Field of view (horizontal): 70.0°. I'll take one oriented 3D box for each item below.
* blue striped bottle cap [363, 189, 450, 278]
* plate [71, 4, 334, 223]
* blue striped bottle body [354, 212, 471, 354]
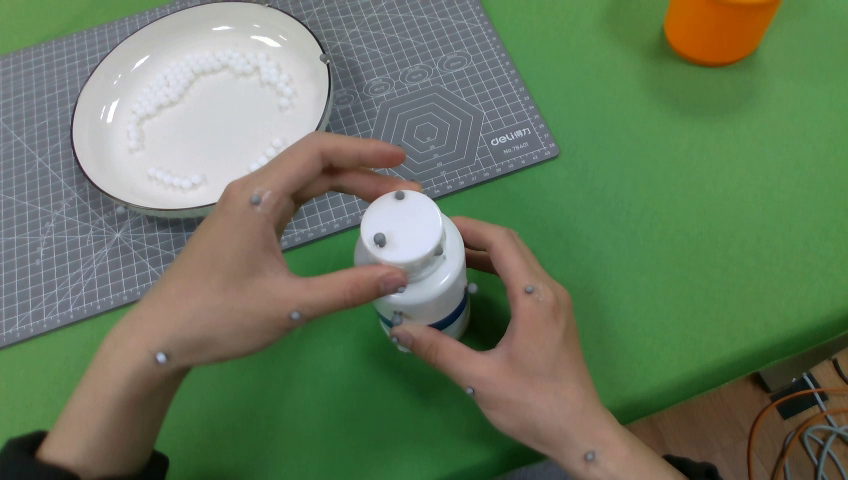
[{"bbox_3d":[-0.009,-0.004,0.315,0.044,0.021,0.044,-3,63,7],"label":"blue striped bottle cap"},{"bbox_3d":[-0.172,-0.101,0.488,0.207,0.039,0.206,-2,63,5],"label":"plate"},{"bbox_3d":[-0.005,0.022,0.365,0.063,0.122,0.062,-3,62,6],"label":"blue striped bottle body"}]
